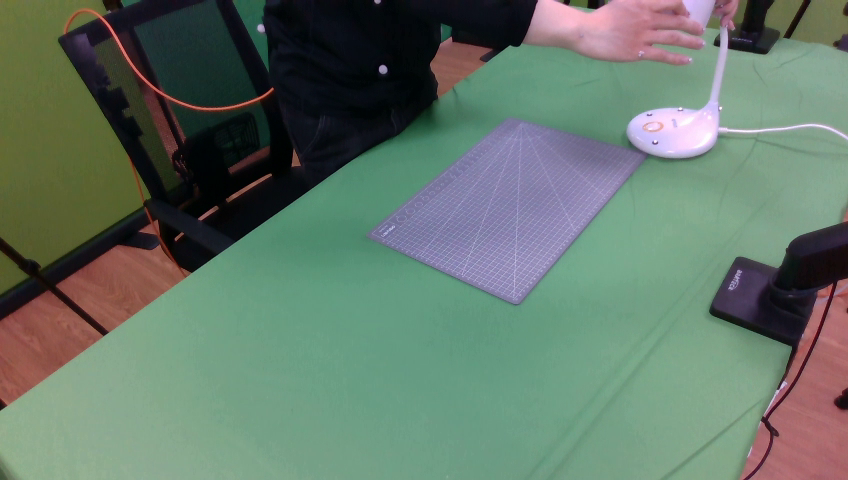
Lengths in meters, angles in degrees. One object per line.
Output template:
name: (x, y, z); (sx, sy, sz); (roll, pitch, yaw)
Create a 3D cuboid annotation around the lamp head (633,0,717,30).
lamp head: (0.378, -0.376, 0.866); (0.113, 0.123, 0.112); (14, 33, -8)

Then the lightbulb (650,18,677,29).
lightbulb: (0.369, -0.361, 0.879); (0.060, 0.108, 0.059); (9, 43, -8)

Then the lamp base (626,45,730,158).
lamp base: (0.468, -0.262, 1.086); (0.179, 0.181, 0.159); (-4, 41, -1)
